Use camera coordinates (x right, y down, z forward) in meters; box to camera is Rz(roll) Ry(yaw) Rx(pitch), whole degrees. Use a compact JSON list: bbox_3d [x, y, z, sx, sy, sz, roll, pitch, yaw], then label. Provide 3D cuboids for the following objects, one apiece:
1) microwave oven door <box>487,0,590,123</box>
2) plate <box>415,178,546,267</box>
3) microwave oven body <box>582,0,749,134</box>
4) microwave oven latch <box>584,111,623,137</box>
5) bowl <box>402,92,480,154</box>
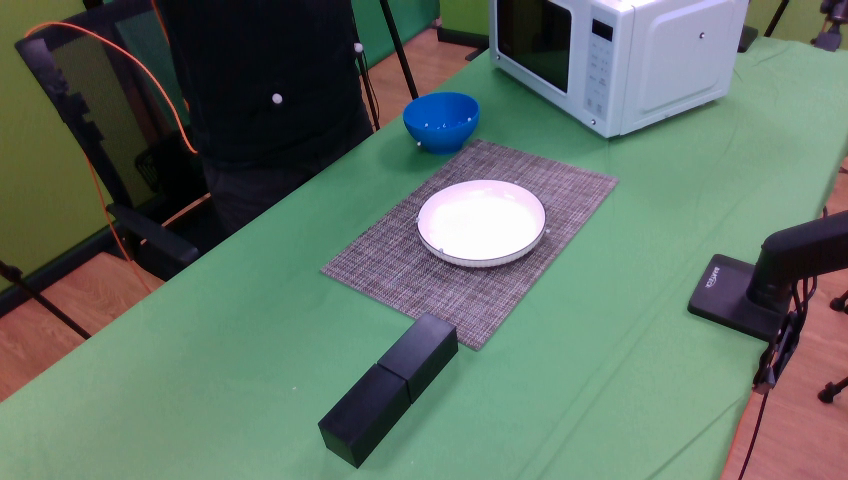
[{"bbox_3d":[0.232,-0.420,1.231,0.039,0.245,0.352,-22,43,-16],"label":"microwave oven door"},{"bbox_3d":[0.091,-0.026,0.970,0.207,0.039,0.206,-4,41,4],"label":"plate"},{"bbox_3d":[0.382,-0.444,1.246,0.327,0.261,0.437,-22,42,-16],"label":"microwave oven body"},{"bbox_3d":[0.337,-0.222,1.142,0.030,0.029,0.078,-21,42,-14],"label":"microwave oven latch"},{"bbox_3d":[0.036,-0.220,1.180,0.151,0.077,0.150,-4,40,4],"label":"bowl"}]
